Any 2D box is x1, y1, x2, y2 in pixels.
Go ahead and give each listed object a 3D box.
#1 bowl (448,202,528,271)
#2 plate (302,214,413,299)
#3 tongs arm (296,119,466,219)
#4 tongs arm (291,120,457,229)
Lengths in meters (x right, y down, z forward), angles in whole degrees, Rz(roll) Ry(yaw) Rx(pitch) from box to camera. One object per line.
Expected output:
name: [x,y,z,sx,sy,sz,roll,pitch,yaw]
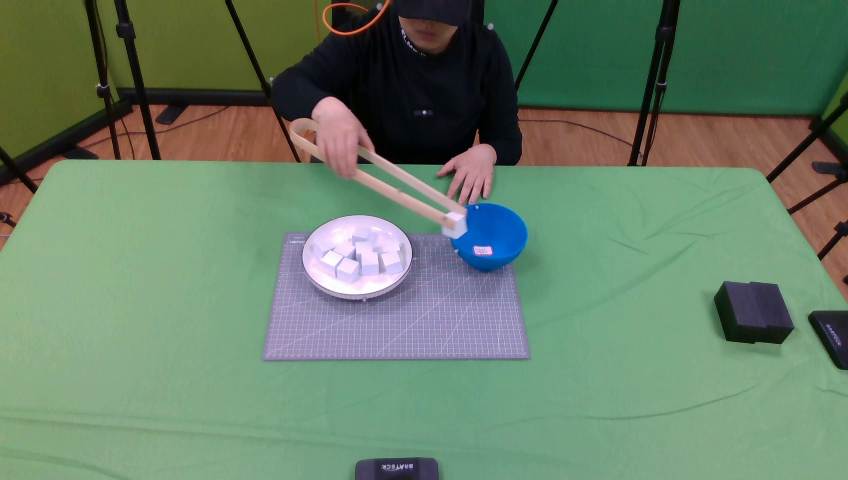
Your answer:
bowl: [0.118,0.006,1.160,0.151,0.077,0.150,2,46,-2]
plate: [-0.124,0.033,1.143,0.208,0.039,0.206,2,46,-2]
tongs arm: [-0.085,-0.137,1.126,0.386,0.028,0.028,31,55,18]
tongs arm: [-0.098,-0.124,1.112,0.384,0.026,0.050,27,50,15]
